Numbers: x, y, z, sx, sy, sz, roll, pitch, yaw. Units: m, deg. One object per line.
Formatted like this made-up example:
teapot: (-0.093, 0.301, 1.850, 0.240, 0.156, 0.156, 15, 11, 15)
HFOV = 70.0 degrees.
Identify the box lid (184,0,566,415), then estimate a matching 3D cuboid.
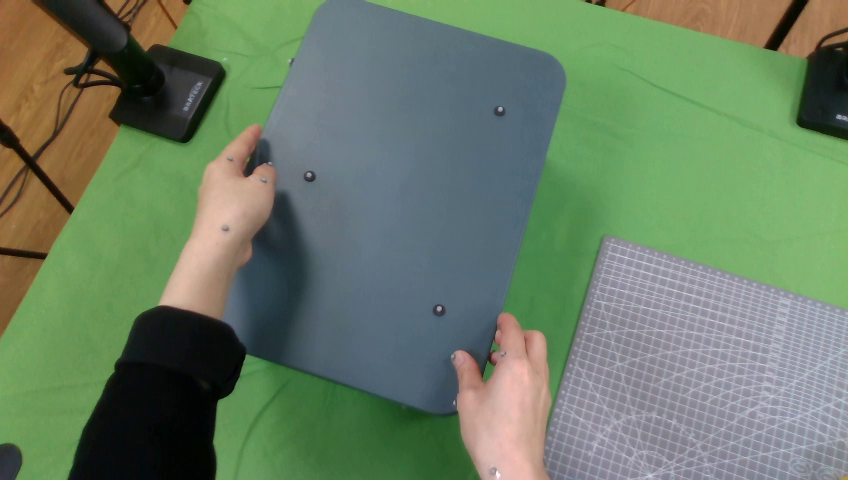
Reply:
box lid: (-0.032, -0.054, 0.559, 0.263, 0.015, 0.369, 17, 73, 4)

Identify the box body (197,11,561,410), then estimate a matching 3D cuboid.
box body: (-0.030, -0.025, 0.645, 0.253, 0.161, 0.362, 17, 73, 9)

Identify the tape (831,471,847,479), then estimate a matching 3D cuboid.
tape: (0.441, 0.275, 0.570, 0.117, 0.053, 0.116, -1, 71, 4)
